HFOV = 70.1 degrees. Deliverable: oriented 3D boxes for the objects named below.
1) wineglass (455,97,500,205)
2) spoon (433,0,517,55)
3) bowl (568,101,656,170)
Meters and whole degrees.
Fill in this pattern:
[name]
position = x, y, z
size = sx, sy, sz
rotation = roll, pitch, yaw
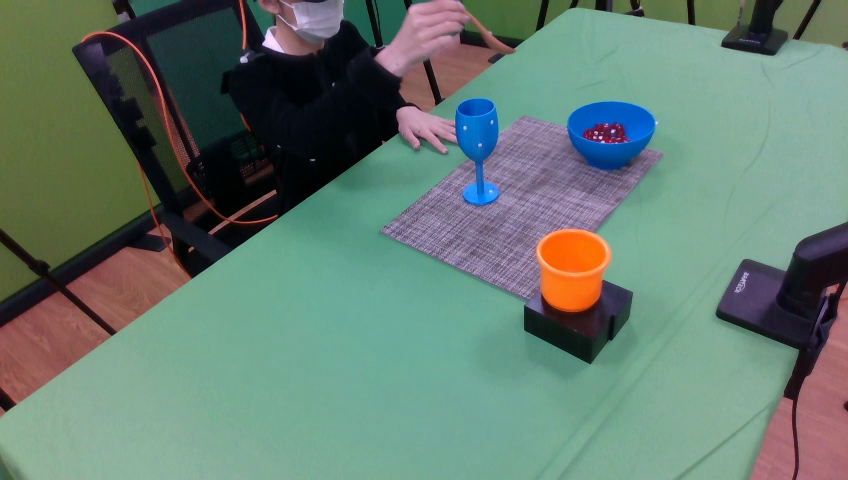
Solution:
[wineglass]
position = 0.092, -0.145, 1.009
size = 0.074, 0.173, 0.073
rotation = -5, 40, 4
[spoon]
position = 0.077, -0.343, 0.960
size = 0.041, 0.195, 0.021
rotation = 33, 95, 55
[bowl]
position = 0.332, -0.179, 1.084
size = 0.151, 0.077, 0.150
rotation = -4, 40, 4
